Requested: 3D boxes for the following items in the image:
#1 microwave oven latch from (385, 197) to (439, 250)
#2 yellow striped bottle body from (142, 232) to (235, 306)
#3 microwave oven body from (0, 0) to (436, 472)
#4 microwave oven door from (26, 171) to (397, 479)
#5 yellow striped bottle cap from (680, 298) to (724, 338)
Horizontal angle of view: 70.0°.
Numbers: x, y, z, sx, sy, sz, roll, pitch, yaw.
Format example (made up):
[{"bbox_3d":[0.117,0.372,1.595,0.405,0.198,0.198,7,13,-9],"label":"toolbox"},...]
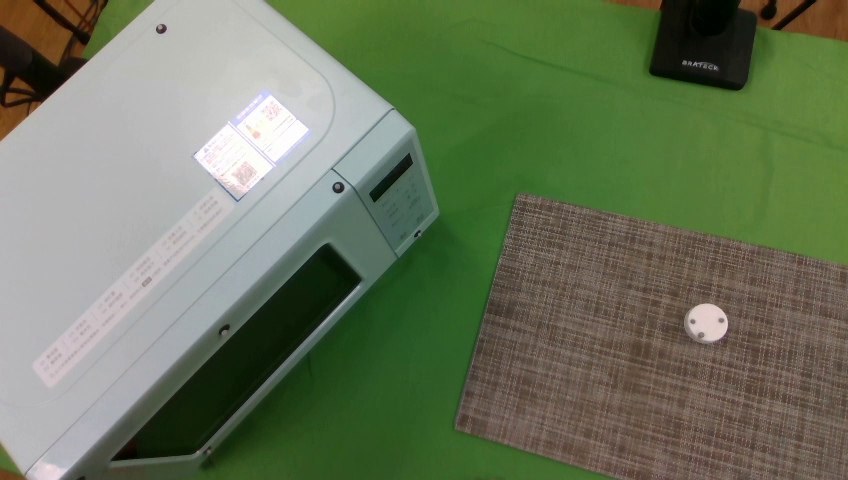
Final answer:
[{"bbox_3d":[-0.016,-0.026,0.742,0.030,0.030,0.079,43,84,15],"label":"microwave oven latch"},{"bbox_3d":[-0.258,0.031,0.661,0.063,0.121,0.062,-1,73,4],"label":"yellow striped bottle body"},{"bbox_3d":[-0.256,-0.020,0.667,0.324,0.262,0.441,42,83,15],"label":"microwave oven body"},{"bbox_3d":[-0.181,0.102,0.619,0.039,0.245,0.355,41,83,17],"label":"microwave oven door"},{"bbox_3d":[0.319,0.089,0.696,0.044,0.019,0.044,-2,74,8],"label":"yellow striped bottle cap"}]
